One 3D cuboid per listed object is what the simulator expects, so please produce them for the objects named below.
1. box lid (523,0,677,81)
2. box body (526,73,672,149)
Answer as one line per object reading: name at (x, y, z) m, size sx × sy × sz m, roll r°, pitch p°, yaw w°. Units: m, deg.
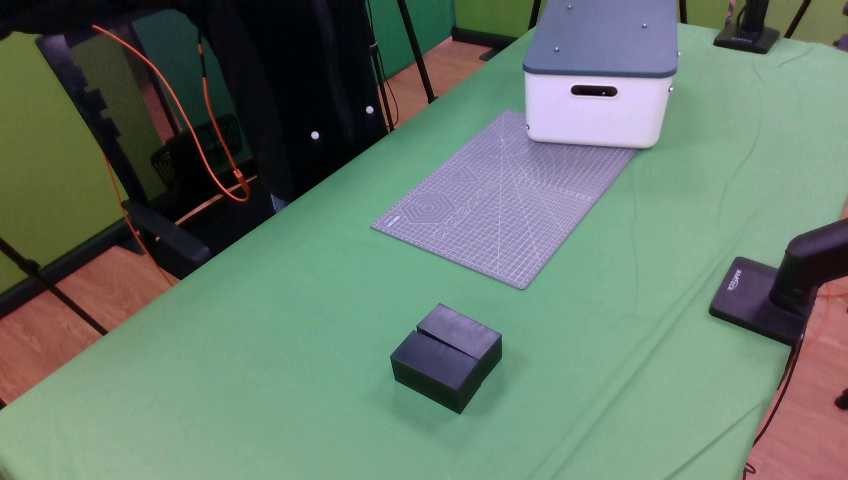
box lid at (0.347, -0.397, 1.163) m, size 0.262 × 0.015 × 0.371 m, roll 7°, pitch 42°, yaw 16°
box body at (0.356, -0.342, 1.212) m, size 0.253 × 0.161 × 0.363 m, roll 7°, pitch 42°, yaw 17°
